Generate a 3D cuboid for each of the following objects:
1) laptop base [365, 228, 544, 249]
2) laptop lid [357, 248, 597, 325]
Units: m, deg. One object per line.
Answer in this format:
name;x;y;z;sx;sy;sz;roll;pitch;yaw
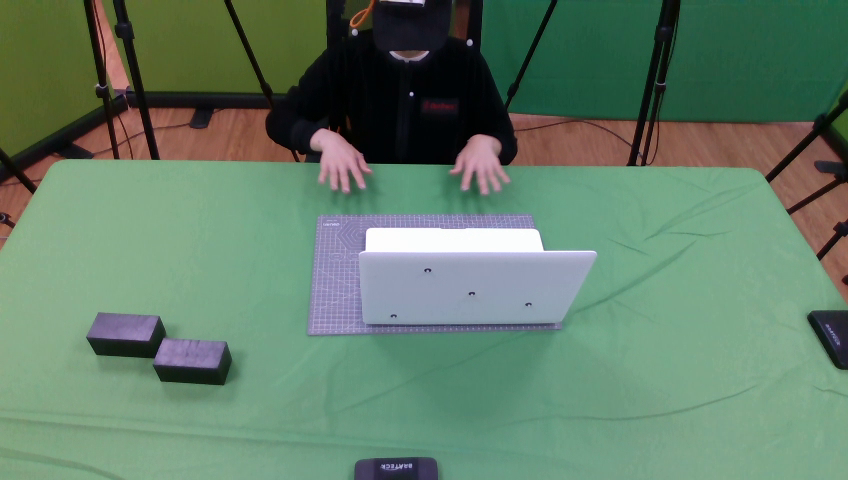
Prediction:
laptop base;0.064;0.063;1.142;0.355;0.023;0.234;0;42;-4
laptop lid;0.074;0.080;0.962;0.357;0.243;0.013;1;56;-5
